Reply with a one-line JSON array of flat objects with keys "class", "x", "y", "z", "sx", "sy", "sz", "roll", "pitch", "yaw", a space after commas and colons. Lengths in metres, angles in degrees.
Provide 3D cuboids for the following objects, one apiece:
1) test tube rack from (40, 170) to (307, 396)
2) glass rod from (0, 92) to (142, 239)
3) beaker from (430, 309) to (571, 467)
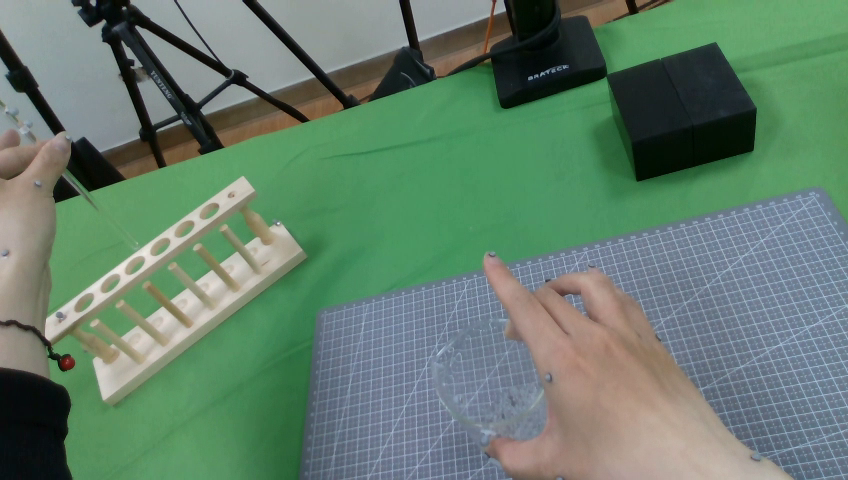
[{"class": "test tube rack", "x": -0.249, "y": 0.042, "z": 0.617, "sx": 0.242, "sy": 0.086, "sz": 0.066, "roll": -38, "pitch": 47, "yaw": -9}, {"class": "glass rod", "x": -0.291, "y": -0.061, "z": 0.497, "sx": 0.008, "sy": 0.202, "sz": 0.008, "roll": -7, "pitch": 53, "yaw": 10}, {"class": "beaker", "x": 0.055, "y": 0.104, "z": 0.410, "sx": 0.083, "sy": 0.101, "sz": 0.073, "roll": 5, "pitch": 55, "yaw": 28}]
